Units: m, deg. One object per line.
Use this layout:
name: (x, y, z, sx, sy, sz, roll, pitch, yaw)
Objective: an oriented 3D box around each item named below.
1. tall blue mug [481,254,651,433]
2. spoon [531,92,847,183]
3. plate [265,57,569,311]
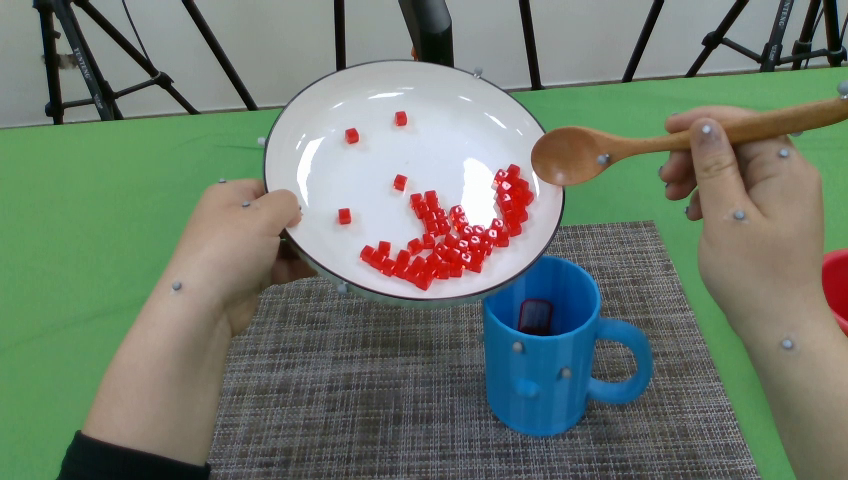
tall blue mug: (0.095, 0.072, 0.428, 0.107, 0.109, 0.077, -8, 41, -1)
spoon: (0.136, -0.056, 0.346, 0.021, 0.042, 0.192, -30, 17, -30)
plate: (-0.004, -0.042, 0.426, 0.208, 0.039, 0.205, 4, 59, -7)
